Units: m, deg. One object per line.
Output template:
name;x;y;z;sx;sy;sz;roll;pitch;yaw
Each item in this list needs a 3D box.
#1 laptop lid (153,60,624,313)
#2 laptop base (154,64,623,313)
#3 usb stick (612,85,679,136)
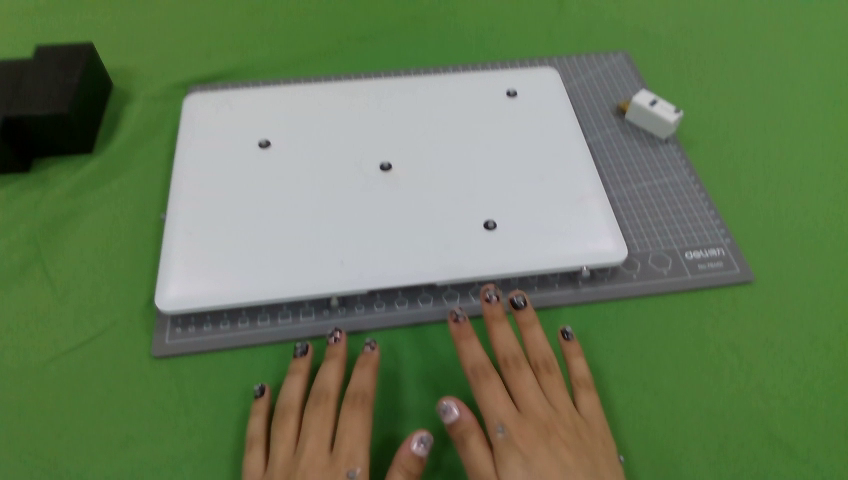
laptop lid;-0.034;-0.061;0.506;0.357;0.013;0.239;-5;56;-4
laptop base;-0.034;-0.056;0.517;0.355;0.023;0.233;-6;57;-6
usb stick;0.203;-0.124;0.563;0.058;0.027;0.021;38;61;26
